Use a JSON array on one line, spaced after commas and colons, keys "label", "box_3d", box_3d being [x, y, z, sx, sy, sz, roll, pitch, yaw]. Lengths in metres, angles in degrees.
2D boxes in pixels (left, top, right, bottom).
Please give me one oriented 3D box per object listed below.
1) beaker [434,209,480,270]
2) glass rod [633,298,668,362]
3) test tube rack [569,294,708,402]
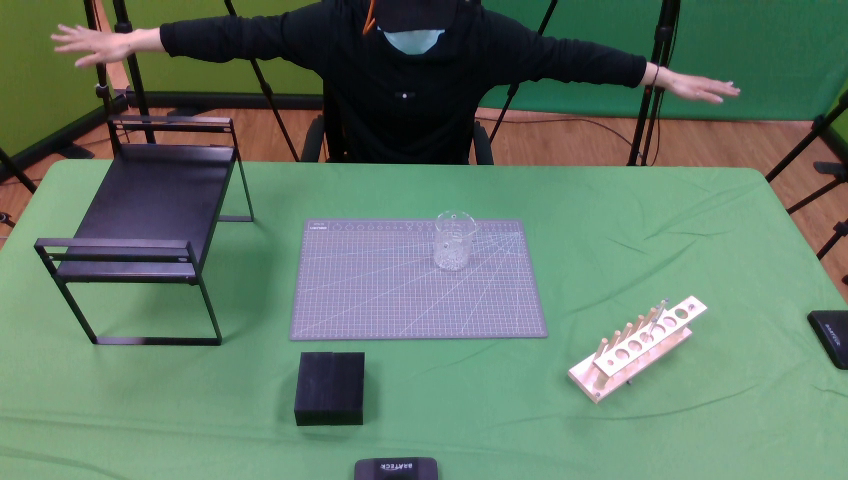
[{"label": "beaker", "box_3d": [0.058, 0.002, 1.138, 0.084, 0.101, 0.073, 8, 47, 3]}, {"label": "glass rod", "box_3d": [0.349, 0.144, 0.945, 0.008, 0.201, 0.008, -1, 53, 1]}, {"label": "test tube rack", "box_3d": [0.360, 0.167, 1.014, 0.242, 0.085, 0.066, -25, 53, -25]}]
